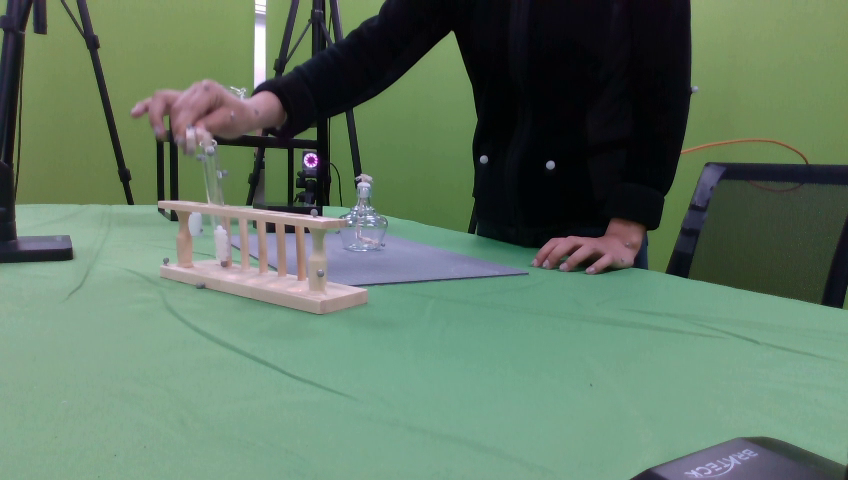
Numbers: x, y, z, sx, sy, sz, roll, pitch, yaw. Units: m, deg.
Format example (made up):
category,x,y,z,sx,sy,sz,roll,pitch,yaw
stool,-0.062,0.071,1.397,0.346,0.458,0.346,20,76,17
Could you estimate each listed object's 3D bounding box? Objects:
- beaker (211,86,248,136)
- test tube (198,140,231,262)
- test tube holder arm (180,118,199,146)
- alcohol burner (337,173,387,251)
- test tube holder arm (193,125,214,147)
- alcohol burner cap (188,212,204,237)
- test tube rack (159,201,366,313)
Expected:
category,x,y,z,sx,sy,sz,roll,pitch,yaw
beaker,-0.413,-0.274,1.297,0.074,0.100,0.083,-5,11,-44
test tube,-0.216,-0.036,0.628,0.017,0.150,0.017,4,39,-3
test tube holder arm,-0.265,-0.124,0.681,0.013,0.015,0.177,5,13,-27
alcohol burner,-0.095,-0.043,0.926,0.078,0.119,0.078,3,6,0
test tube holder arm,-0.240,-0.112,0.646,0.010,0.015,0.087,3,14,-34
alcohol burner cap,-0.390,-0.029,1.025,0.034,0.048,0.034,2,8,0
test tube rack,-0.173,0.009,0.624,0.241,0.085,0.067,7,9,34
